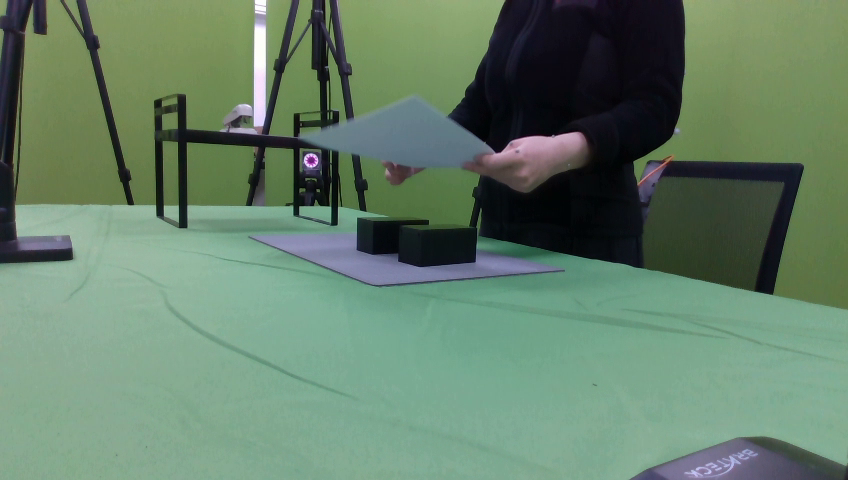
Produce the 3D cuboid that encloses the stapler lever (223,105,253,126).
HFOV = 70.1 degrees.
[{"bbox_3d":[-0.375,-0.250,1.219,0.027,0.040,0.117,1,6,-36],"label":"stapler lever"}]

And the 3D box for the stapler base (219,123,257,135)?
[{"bbox_3d":[-0.375,-0.225,1.221,0.041,0.024,0.130,1,5,-36],"label":"stapler base"}]
